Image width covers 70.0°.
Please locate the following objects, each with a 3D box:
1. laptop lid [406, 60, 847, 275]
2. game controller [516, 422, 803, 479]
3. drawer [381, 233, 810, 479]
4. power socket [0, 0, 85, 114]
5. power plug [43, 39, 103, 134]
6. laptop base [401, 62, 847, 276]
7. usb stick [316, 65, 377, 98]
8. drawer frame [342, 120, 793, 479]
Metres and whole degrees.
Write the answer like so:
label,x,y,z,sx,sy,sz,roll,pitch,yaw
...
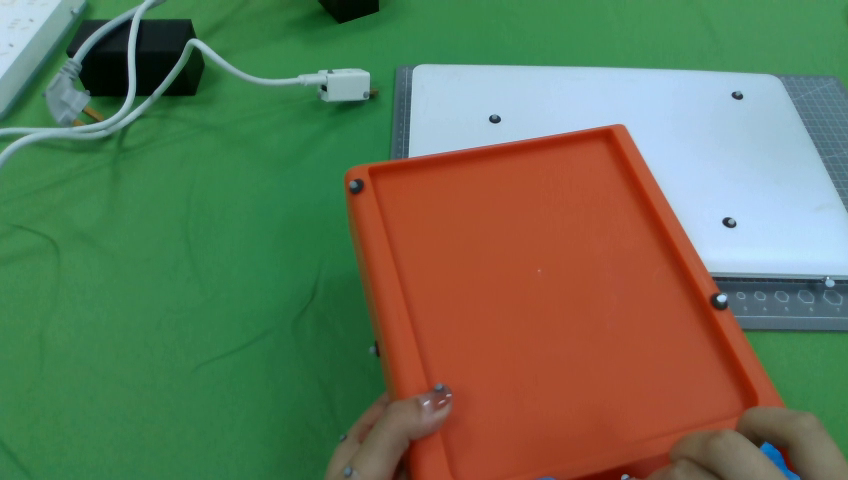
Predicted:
label,x,y,z,sx,sy,sz,roll,pitch,yaw
laptop lid,0.160,-0.073,0.511,0.357,0.013,0.239,3,55,0
game controller,0.107,0.144,0.275,0.155,0.051,0.097,-11,93,-10
drawer,0.091,0.111,0.333,0.195,0.074,0.209,-10,60,-11
power socket,-0.410,-0.200,0.595,0.072,0.033,0.224,5,52,0
power plug,-0.296,-0.131,0.527,0.072,0.053,0.035,-51,35,-2
laptop base,0.160,-0.067,0.522,0.354,0.023,0.233,2,56,-1
usb stick,-0.070,-0.149,0.566,0.059,0.027,0.021,-12,29,-37
drawer frame,0.068,0.042,0.374,0.202,0.083,0.211,-12,59,-11
